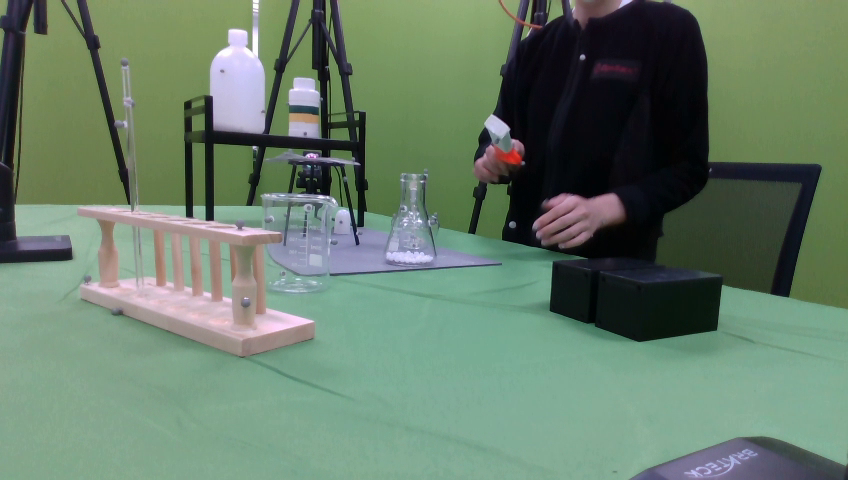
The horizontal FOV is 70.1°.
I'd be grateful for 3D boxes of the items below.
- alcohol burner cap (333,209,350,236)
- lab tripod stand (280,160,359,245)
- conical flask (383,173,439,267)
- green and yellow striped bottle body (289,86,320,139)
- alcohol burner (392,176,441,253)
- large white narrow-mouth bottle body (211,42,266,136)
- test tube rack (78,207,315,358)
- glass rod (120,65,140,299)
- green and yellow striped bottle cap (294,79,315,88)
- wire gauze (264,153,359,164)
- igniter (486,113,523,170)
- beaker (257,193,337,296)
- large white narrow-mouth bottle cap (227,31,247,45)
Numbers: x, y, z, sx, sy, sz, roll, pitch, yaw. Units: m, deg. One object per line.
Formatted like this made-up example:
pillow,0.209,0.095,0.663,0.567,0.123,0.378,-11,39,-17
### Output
alcohol burner cap,-0.151,-0.033,1.116,0.034,0.048,0.034,4,7,0
lab tripod stand,-0.176,-0.062,0.973,0.148,0.131,0.148,1,7,0
conical flask,-0.016,-0.028,0.808,0.075,0.122,0.075,2,7,0
green and yellow striped bottle body,-0.250,-0.272,1.261,0.063,0.119,0.063,3,7,0
alcohol burner,-0.012,-0.041,0.944,0.078,0.119,0.078,0,7,0
large white narrow-mouth bottle body,-0.361,-0.302,1.176,0.102,0.194,0.102,1,7,0
test tube rack,-0.196,0.023,0.500,0.241,0.085,0.067,8,9,37
glass rod,-0.249,-0.047,0.513,0.008,0.199,0.008,-1,4,0
green and yellow striped bottle cap,-0.248,-0.323,1.256,0.045,0.020,0.045,3,9,0
wire gauze,-0.181,-0.130,0.969,0.126,0.011,0.121,-1,6,-27
igniter,0.120,-0.138,0.883,0.057,0.025,0.277,40,6,10
beaker,-0.130,0.004,0.628,0.084,0.100,0.074,5,8,15
large white narrow-mouth bottle cap,-0.361,-0.389,1.166,0.038,0.024,0.037,1,7,0
